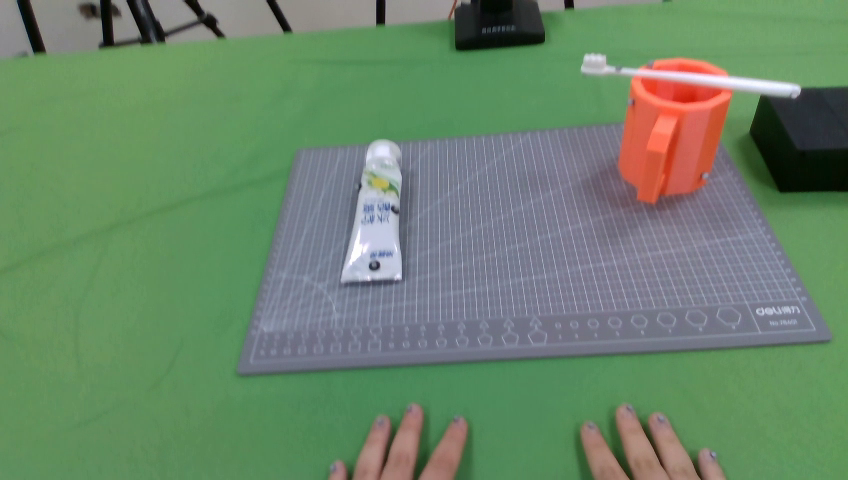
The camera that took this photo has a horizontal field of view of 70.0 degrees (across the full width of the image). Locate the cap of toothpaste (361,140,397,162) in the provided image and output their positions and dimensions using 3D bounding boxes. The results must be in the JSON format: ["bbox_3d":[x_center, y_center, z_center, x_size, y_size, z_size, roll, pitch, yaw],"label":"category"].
[{"bbox_3d":[-0.046,-0.087,0.623,0.037,0.038,0.011,-1,51,6],"label":"cap of toothpaste"}]

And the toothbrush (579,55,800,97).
[{"bbox_3d":[0.226,-0.143,0.527,0.181,0.017,0.014,14,43,20],"label":"toothbrush"}]

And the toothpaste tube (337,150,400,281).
[{"bbox_3d":[-0.049,-0.028,0.573,0.055,0.035,0.163,-7,49,7],"label":"toothpaste tube"}]

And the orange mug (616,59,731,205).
[{"bbox_3d":[0.221,-0.094,0.553,0.083,0.102,0.126,17,46,23],"label":"orange mug"}]
